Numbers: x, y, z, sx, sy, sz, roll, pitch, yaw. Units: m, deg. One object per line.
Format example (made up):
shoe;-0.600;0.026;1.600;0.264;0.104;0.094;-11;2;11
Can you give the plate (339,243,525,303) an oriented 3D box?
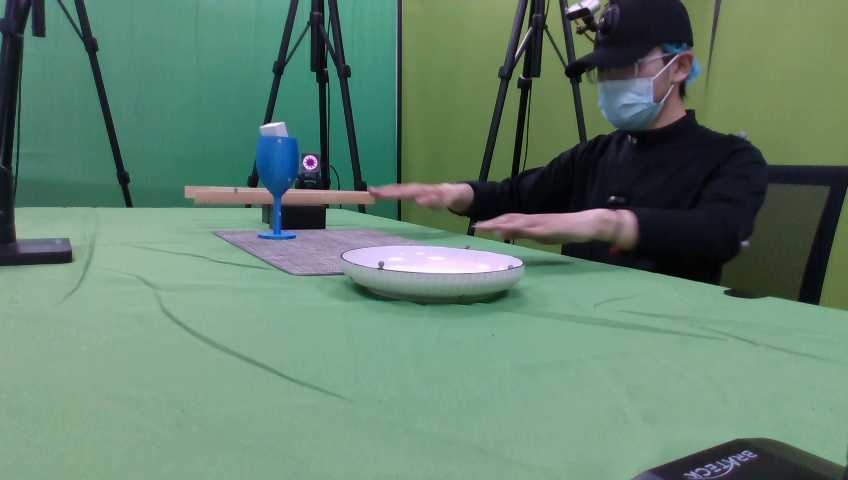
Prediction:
plate;0.008;0.035;0.682;0.209;0.038;0.209;3;7;0

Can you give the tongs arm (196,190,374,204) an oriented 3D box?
tongs arm;-0.266;-0.086;1.227;0.387;0.026;0.050;-2;6;-33

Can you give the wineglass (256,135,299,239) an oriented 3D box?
wineglass;-0.252;-0.091;1.035;0.074;0.172;0.073;2;7;0

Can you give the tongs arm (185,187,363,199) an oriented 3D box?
tongs arm;-0.304;-0.096;1.297;0.389;0.028;0.028;0;2;-20
